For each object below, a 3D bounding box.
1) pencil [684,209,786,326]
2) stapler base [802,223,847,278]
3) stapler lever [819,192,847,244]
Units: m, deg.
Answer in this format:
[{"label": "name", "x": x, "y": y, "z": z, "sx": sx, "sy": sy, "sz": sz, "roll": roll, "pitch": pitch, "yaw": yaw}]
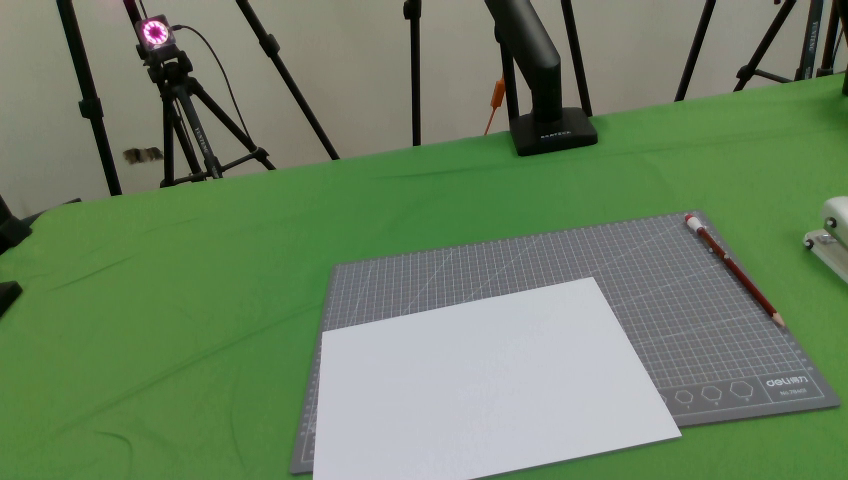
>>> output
[{"label": "pencil", "x": 0.314, "y": 0.022, "z": 0.620, "sx": 0.012, "sy": 0.012, "sz": 0.192, "roll": -12, "pitch": 35, "yaw": 1}, {"label": "stapler base", "x": 0.424, "y": 0.016, "z": 0.589, "sx": 0.041, "sy": 0.025, "sz": 0.129, "roll": -13, "pitch": 36, "yaw": 2}, {"label": "stapler lever", "x": 0.420, "y": -0.004, "z": 0.572, "sx": 0.027, "sy": 0.040, "sz": 0.117, "roll": -13, "pitch": 36, "yaw": 2}]
